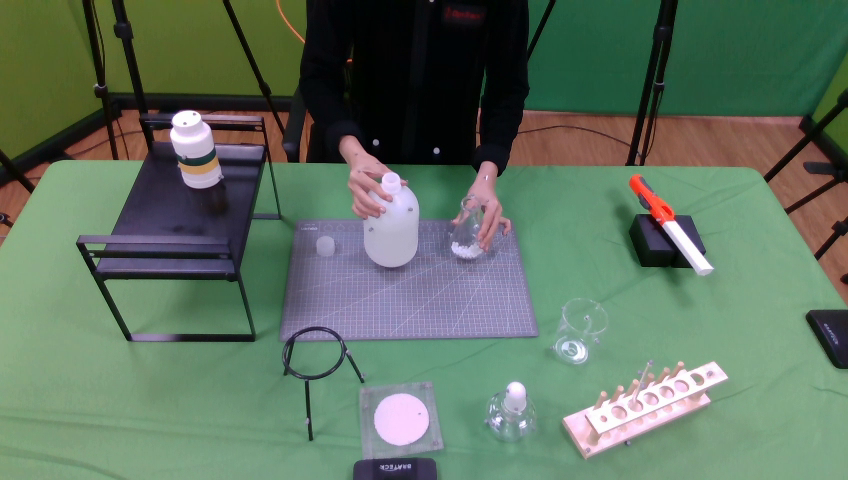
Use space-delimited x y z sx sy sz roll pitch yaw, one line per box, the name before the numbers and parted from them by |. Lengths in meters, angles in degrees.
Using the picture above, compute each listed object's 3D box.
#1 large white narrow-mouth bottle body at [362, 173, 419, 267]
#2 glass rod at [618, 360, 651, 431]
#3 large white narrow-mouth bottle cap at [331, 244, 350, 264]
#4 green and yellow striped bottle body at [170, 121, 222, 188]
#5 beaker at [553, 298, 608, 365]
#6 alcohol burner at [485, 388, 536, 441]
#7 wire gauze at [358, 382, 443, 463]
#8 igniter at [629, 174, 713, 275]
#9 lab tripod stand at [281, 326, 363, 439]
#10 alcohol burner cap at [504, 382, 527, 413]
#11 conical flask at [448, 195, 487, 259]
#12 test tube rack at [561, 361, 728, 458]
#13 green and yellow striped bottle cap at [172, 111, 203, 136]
large white narrow-mouth bottle body | -0.060 -0.043 1.086 0.102 0.195 0.101 3 51 -3
glass rod | 0.298 0.226 0.865 0.008 0.201 0.008 -1 48 2
large white narrow-mouth bottle cap | -0.160 0.026 1.162 0.038 0.024 0.037 4 46 -4
green and yellow striped bottle body | -0.375 -0.149 0.995 0.063 0.120 0.063 2 46 -2
beaker | 0.260 0.154 1.015 0.073 0.101 0.084 37 54 27
alcohol burner | 0.131 0.249 0.904 0.078 0.120 0.077 1 48 -1
wire gauze | -0.039 0.276 0.937 0.121 0.011 0.124 -4 47 -7
igniter | 0.481 -0.040 1.202 0.057 0.025 0.274 -2 46 -21
lab tripod stand | -0.166 0.203 0.913 0.148 0.132 0.147 1 47 -1
alcohol burner cap | 0.133 0.225 0.877 0.034 0.048 0.033 -4 47 5
conical flask | 0.084 -0.026 1.130 0.075 0.122 0.075 0 48 0
test tube rack | 0.341 0.248 0.940 0.243 0.085 0.066 -15 49 -18
green and yellow striped bottle cap | -0.374 -0.185 0.957 0.045 0.020 0.045 3 45 -3
